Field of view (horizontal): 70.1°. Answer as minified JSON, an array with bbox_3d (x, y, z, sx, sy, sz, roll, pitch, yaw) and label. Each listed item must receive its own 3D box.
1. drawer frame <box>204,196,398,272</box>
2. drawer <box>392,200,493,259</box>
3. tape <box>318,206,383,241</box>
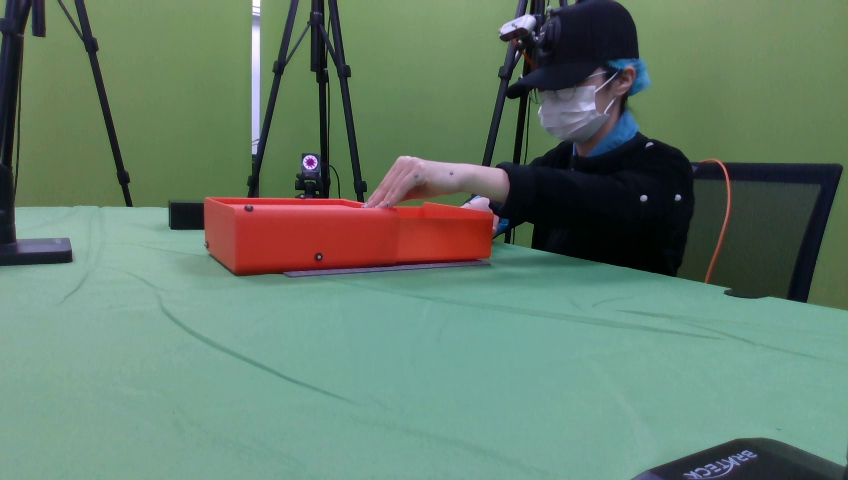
[{"bbox_3d":[-0.172,-0.016,0.828,0.215,0.082,0.200,-3,9,-30],"label":"drawer frame"},{"bbox_3d":[-0.037,-0.020,0.910,0.213,0.073,0.193,-2,10,-32],"label":"drawer"},{"bbox_3d":[-0.129,-0.030,1.075,0.117,0.052,0.117,3,8,0],"label":"tape"}]
